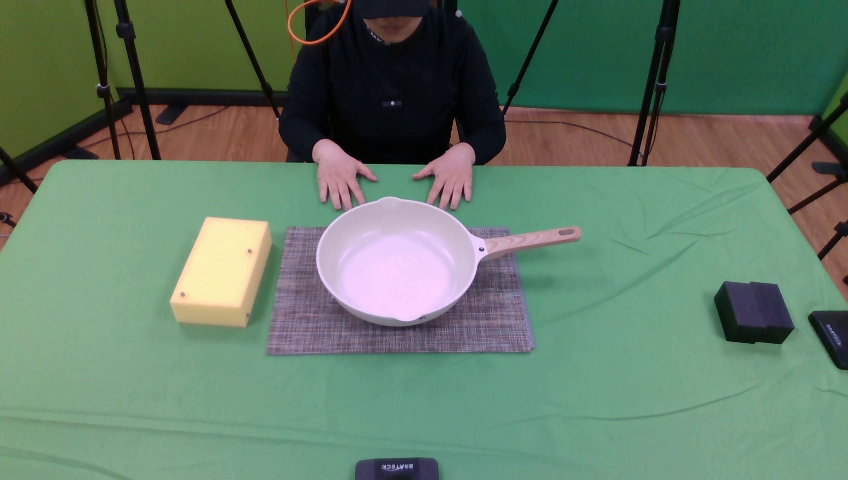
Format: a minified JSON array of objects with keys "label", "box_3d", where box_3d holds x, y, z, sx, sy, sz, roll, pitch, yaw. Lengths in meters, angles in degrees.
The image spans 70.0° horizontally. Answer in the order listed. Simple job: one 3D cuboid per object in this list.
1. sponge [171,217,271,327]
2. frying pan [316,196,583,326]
[{"label":"sponge","box_3d":[-0.359,0.053,1.094,0.118,0.061,0.205,3,46,-1]},{"label":"frying pan","box_3d":[0.054,0.027,1.114,0.488,0.103,0.304,-9,48,-1]}]
